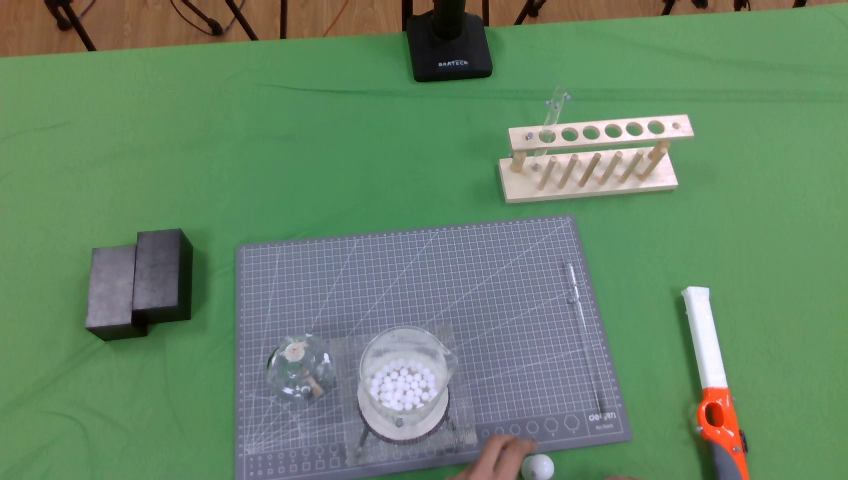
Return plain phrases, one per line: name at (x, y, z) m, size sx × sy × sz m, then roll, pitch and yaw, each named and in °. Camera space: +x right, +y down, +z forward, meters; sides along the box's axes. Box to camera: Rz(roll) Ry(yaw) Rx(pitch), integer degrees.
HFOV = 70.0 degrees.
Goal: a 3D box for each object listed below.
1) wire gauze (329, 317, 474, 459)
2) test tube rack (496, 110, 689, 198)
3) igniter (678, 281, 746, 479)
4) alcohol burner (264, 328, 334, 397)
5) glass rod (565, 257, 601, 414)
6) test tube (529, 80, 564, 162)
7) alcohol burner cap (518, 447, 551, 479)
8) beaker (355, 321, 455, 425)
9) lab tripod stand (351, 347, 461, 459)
wire gauze at (-0.024, 0.140, 0.584) m, size 0.125 × 0.011 × 0.120 m, roll -9°, pitch 64°, yaw -5°
test tube rack at (0.227, -0.115, 0.819) m, size 0.243 × 0.086 × 0.066 m, roll -5°, pitch 65°, yaw -6°
igniter at (0.343, 0.180, 0.723) m, size 0.057 × 0.025 × 0.274 m, roll 6°, pitch 65°, yaw -12°
alcohol burner at (-0.139, 0.130, 0.665) m, size 0.078 × 0.120 × 0.077 m, roll 1°, pitch 63°, yaw -2°
glass rod at (0.196, 0.115, 0.751) m, size 0.008 × 0.008 × 0.198 m, roll -4°, pitch 69°, yaw -6°
test tube at (0.154, -0.147, 0.774) m, size 0.017 × 0.151 × 0.017 m, roll 1°, pitch 62°, yaw -1°
alcohol burner cap at (0.125, 0.247, 0.672) m, size 0.034 × 0.048 × 0.033 m, roll 1°, pitch 64°, yaw -2°
beaker at (-0.017, 0.122, 0.539) m, size 0.084 × 0.101 × 0.073 m, roll -10°, pitch 65°, yaw -8°
lab tripod stand at (-0.026, 0.170, 0.642) m, size 0.148 × 0.132 × 0.147 m, roll 1°, pitch 64°, yaw -1°
